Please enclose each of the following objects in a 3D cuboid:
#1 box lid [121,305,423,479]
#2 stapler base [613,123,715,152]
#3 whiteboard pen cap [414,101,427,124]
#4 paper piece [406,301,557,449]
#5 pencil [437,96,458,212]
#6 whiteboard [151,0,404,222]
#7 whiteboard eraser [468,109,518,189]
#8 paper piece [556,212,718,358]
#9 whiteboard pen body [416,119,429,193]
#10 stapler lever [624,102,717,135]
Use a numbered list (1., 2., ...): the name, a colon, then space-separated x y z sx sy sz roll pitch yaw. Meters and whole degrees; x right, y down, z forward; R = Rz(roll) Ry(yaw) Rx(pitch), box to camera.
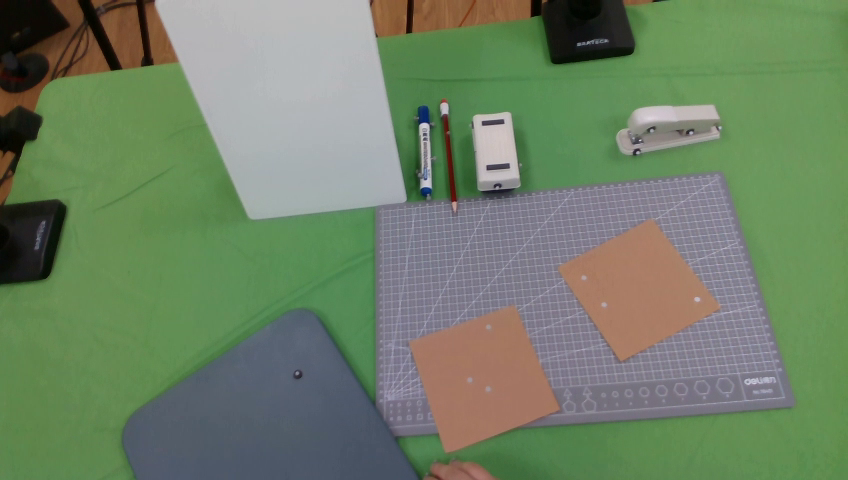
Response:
1. box lid: -0.154 0.267 0.655 0.263 0.015 0.368 -34 64 -10
2. stapler base: 0.319 -0.148 0.801 0.130 0.024 0.041 -10 65 0
3. whiteboard pen cap: -0.004 -0.179 0.858 0.018 0.018 0.033 -7 61 4
4. paper piece: 0.062 0.148 0.688 0.135 0.004 0.134 -19 63 -3
5. pencil: 0.033 -0.121 0.829 0.012 0.012 0.192 -8 63 3
6. whiteboard: -0.152 -0.194 0.756 0.217 0.308 0.142 -6 43 5
7. whiteboard eraser: 0.091 -0.120 0.804 0.055 0.042 0.111 -7 63 5
8. paper piece: 0.248 0.050 0.715 0.136 0.009 0.137 -27 65 -2
9. whiteboard pen body: -0.003 -0.127 0.832 0.017 0.017 0.139 -5 63 5
10. stapler lever: 0.318 -0.160 0.780 0.118 0.040 0.026 -11 65 1
